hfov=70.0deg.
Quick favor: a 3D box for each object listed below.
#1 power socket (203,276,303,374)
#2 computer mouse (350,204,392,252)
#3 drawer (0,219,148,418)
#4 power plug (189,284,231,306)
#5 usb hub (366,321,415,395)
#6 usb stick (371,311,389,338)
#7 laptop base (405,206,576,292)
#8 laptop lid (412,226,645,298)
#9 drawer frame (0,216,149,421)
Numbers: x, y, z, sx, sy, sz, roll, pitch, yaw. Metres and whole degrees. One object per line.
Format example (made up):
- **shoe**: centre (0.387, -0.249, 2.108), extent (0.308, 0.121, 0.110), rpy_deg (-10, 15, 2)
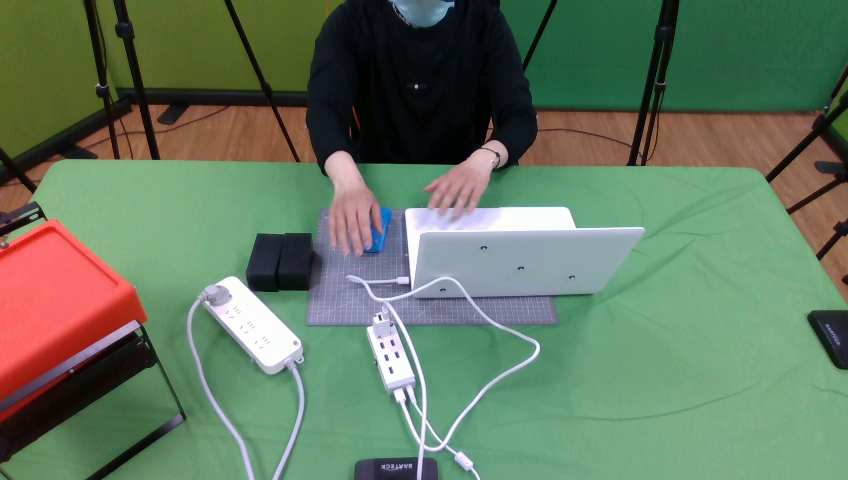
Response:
- **power socket**: centre (-0.296, 0.141, 1.034), extent (0.072, 0.033, 0.225), rpy_deg (-35, 58, -30)
- **computer mouse**: centre (-0.104, -0.027, 1.202), extent (0.063, 0.041, 0.116), rpy_deg (11, 52, 4)
- **drawer**: centre (-0.509, 0.093, 0.783), extent (0.193, 0.073, 0.211), rpy_deg (32, 53, 24)
- **power plug**: centre (-0.367, 0.100, 1.037), extent (0.072, 0.053, 0.035), rpy_deg (-24, 54, -26)
- **usb hub**: centre (-0.056, 0.194, 1.007), extent (0.049, 0.025, 0.124), rpy_deg (-13, 49, -15)
- **usb stick**: centre (-0.073, 0.145, 1.012), extent (0.027, 0.059, 0.021), rpy_deg (-14, 50, -20)
- **laptop base**: centre (0.143, 0.018, 1.196), extent (0.355, 0.023, 0.234), rpy_deg (-1, 43, -6)
- **laptop lid**: centre (0.161, 0.042, 1.012), extent (0.357, 0.242, 0.013), rpy_deg (0, 59, -7)
- **drawer frame**: centre (-0.510, 0.093, 0.780), extent (0.201, 0.083, 0.213), rpy_deg (31, 52, 23)
